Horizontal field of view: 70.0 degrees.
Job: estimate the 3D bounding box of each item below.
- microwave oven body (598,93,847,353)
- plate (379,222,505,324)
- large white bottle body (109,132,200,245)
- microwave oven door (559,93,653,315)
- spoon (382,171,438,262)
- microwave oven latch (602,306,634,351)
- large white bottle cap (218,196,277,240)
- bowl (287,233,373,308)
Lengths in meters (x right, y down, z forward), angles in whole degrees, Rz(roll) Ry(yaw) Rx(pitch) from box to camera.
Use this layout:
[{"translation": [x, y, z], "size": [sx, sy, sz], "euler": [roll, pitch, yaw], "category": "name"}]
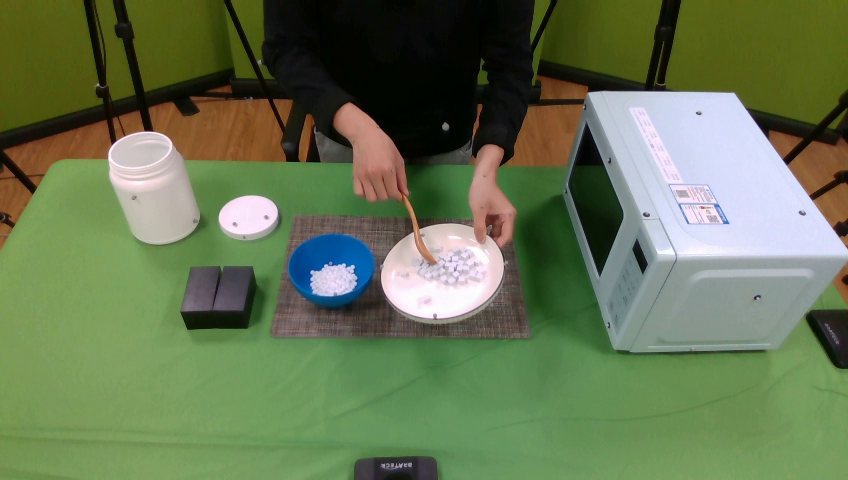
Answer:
[{"translation": [0.475, -0.041, 1.109], "size": [0.326, 0.261, 0.438], "euler": [-1, 45, -4], "category": "microwave oven body"}, {"translation": [0.029, 0.057, 1.004], "size": [0.209, 0.038, 0.208], "euler": [-6, 47, 7], "category": "plate"}, {"translation": [-0.506, -0.097, 1.141], "size": [0.131, 0.185, 0.130], "euler": [2, 46, -2], "category": "large white bottle body"}, {"translation": [0.327, -0.074, 1.123], "size": [0.039, 0.245, 0.353], "euler": [-1, 46, -5], "category": "microwave oven door"}, {"translation": [-0.026, -0.042, 1.041], "size": [0.042, 0.021, 0.193], "euler": [-3, 63, -51], "category": "spoon"}, {"translation": [0.332, 0.153, 1.044], "size": [0.030, 0.029, 0.078], "euler": [0, 45, -4], "category": "microwave oven latch"}, {"translation": [-0.354, -0.045, 1.220], "size": [0.115, 0.018, 0.114], "euler": [2, 45, -2], "category": "large white bottle cap"}, {"translation": [-0.165, 0.068, 1.078], "size": [0.151, 0.077, 0.150], "euler": [3, 46, -3], "category": "bowl"}]
